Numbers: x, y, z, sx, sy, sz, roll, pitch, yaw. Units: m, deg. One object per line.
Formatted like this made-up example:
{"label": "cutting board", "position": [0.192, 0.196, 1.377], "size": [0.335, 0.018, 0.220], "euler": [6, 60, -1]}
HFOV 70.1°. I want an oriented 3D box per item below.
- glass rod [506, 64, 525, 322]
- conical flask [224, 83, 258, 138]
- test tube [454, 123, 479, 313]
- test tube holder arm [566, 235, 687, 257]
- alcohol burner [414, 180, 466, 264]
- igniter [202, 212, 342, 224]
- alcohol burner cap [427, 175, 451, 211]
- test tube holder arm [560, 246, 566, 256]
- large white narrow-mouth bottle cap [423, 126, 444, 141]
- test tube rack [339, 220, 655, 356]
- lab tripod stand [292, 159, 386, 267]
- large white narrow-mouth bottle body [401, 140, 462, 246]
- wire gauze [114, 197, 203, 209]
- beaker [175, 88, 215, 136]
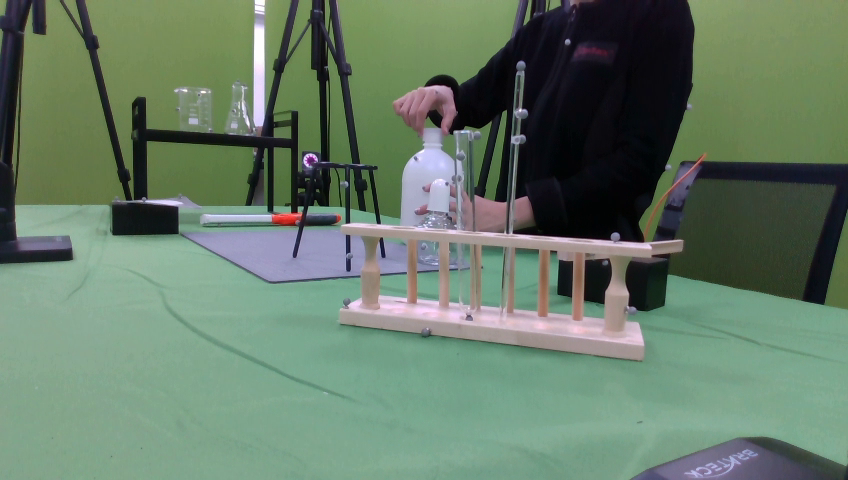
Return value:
{"label": "glass rod", "position": [0.069, -0.030, 0.458], "size": [0.008, 0.199, 0.008], "euler": [0, 15, 0]}
{"label": "conical flask", "position": [-0.422, -0.299, 1.395], "size": [0.075, 0.122, 0.075], "euler": [2, 7, 0]}
{"label": "test tube", "position": [0.034, -0.016, 0.477], "size": [0.017, 0.150, 0.017], "euler": [-2, 9, 1]}
{"label": "test tube holder arm", "position": [0.215, 0.006, 0.630], "size": [0.179, 0.015, 0.013], "euler": [-3, 10, -30]}
{"label": "alcohol burner", "position": [0.021, -0.028, 0.826], "size": [0.078, 0.119, 0.078], "euler": [0, 6, 0]}
{"label": "igniter", "position": [-0.298, -0.044, 1.216], "size": [0.278, 0.025, 0.057], "euler": [-2, -2, -33]}
{"label": "alcohol burner cap", "position": [0.023, -0.064, 0.822], "size": [0.034, 0.048, 0.034], "euler": [7, 5, 0]}
{"label": "test tube holder arm", "position": [0.173, 0.007, 0.612], "size": [0.088, 0.015, 0.010], "euler": [-3, 9, -30]}
{"label": "large white narrow-mouth bottle cap", "position": [0.016, -0.178, 1.017], "size": [0.038, 0.024, 0.037], "euler": [2, 8, 0]}
{"label": "test tube rack", "position": [0.056, 0.032, 0.495], "size": [0.242, 0.085, 0.067], "euler": [4, 7, 15]}
{"label": "lab tripod stand", "position": [-0.105, -0.039, 0.798], "size": [0.148, 0.131, 0.148], "euler": [2, 5, 0]}
{"label": "large white narrow-mouth bottle body", "position": [0.014, -0.092, 1.030], "size": [0.102, 0.194, 0.102], "euler": [2, 8, 0]}
{"label": "wire gauze", "position": [-0.447, -0.062, 1.015], "size": [0.126, 0.011, 0.121], "euler": [-2, 8, -31]}
{"label": "beaker", "position": [-0.511, -0.285, 1.353], "size": [0.084, 0.100, 0.073], "euler": [-2, 8, -25]}
